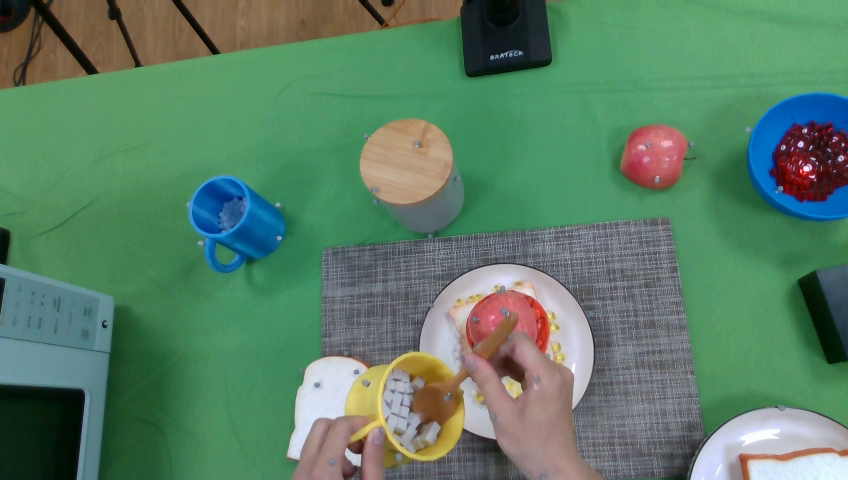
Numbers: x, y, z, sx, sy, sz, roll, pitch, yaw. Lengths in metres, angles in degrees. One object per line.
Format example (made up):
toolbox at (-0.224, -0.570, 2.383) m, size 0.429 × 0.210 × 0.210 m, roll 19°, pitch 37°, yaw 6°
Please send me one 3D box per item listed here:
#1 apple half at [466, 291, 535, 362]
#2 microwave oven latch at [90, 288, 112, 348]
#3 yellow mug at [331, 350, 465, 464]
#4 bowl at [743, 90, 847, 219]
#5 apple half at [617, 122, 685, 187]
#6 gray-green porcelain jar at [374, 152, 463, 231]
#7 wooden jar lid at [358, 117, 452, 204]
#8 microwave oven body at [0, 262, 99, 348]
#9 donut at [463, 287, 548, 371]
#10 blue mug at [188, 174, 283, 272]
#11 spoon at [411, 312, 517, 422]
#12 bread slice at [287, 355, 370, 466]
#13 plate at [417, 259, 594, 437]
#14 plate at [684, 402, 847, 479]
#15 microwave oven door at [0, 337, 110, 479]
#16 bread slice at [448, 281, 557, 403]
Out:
apple half at (0.084, 0.094, 0.668) m, size 0.081 × 0.033 × 0.081 m, roll -5°, pitch 72°, yaw 16°
microwave oven latch at (-0.442, 0.105, 0.815) m, size 0.030 × 0.030 × 0.078 m, roll -1°, pitch 75°, yaw 10°
yellow mug at (-0.030, 0.166, 0.578) m, size 0.131 × 0.064 × 0.099 m, roll -16°, pitch 79°, yaw -40°
bowl at (0.440, -0.087, 0.699) m, size 0.151 × 0.077 × 0.150 m, roll -3°, pitch 75°, yaw 10°
apple half at (0.282, -0.112, 0.749) m, size 0.074 × 0.054 × 0.080 m, roll 17°, pitch 79°, yaw 17°
gray-green porcelain jar at (-0.008, -0.073, 0.755) m, size 0.105 × 0.127 × 0.105 m, roll -3°, pitch 74°, yaw 10°
wooden jar lid at (-0.021, -0.089, 0.695) m, size 0.108 × 0.021 × 0.107 m, roll -2°, pitch 72°, yaw 8°
microwave oven body at (-0.598, 0.263, 0.701) m, size 0.325 × 0.262 × 0.439 m, roll -5°, pitch 75°, yaw 9°
donut at (0.094, 0.103, 0.701) m, size 0.099 × 0.048 × 0.098 m, roll -3°, pitch 75°, yaw 11°
blue mug at (-0.250, -0.014, 0.795) m, size 0.082 × 0.106 × 0.116 m, roll 15°, pitch 78°, yaw 15°
spoon at (0.035, 0.118, 0.543) m, size 0.041 × 0.194 × 0.021 m, roll 37°, pitch 49°, yaw 4°
bread slice at (-0.114, 0.209, 0.754) m, size 0.104 × 0.019 × 0.131 m, roll 2°, pitch 77°, yaw 10°
plate at (0.095, 0.127, 0.724) m, size 0.207 × 0.039 × 0.206 m, roll -3°, pitch 75°, yaw 10°
plate at (0.378, 0.277, 0.634) m, size 0.209 × 0.038 × 0.208 m, roll -3°, pitch 75°, yaw 10°
microwave oven door at (-0.455, 0.289, 0.661) m, size 0.039 × 0.245 × 0.353 m, roll -5°, pitch 74°, yaw 10°
bread slice at (0.101, 0.125, 0.726) m, size 0.107 × 0.018 × 0.133 m, roll -22°, pitch 71°, yaw 5°
